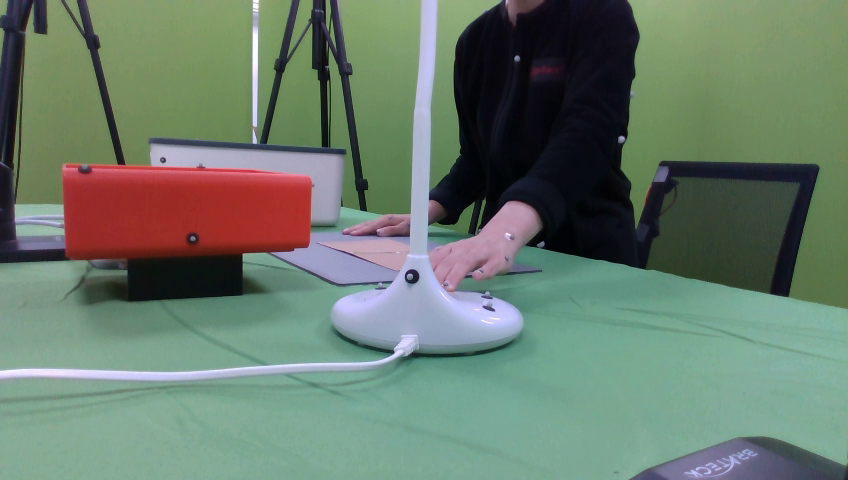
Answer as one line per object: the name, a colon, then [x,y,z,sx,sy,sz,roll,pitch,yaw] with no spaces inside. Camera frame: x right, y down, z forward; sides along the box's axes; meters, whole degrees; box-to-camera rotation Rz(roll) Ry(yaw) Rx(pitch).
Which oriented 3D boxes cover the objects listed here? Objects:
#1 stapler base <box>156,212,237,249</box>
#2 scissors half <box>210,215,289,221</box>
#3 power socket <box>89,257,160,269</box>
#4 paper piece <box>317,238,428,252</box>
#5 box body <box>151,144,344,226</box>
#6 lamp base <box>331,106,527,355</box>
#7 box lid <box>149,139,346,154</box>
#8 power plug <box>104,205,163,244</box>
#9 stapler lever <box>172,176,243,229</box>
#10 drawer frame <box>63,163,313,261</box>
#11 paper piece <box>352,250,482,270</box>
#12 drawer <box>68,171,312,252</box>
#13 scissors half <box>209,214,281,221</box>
stapler base: [-0.227,-0.017,0.624,0.041,0.024,0.130,19,10,-2]
scissors half: [-0.357,-0.044,1.235,0.175,0.013,0.040,1,-4,9]
power socket: [-0.409,0.004,0.793,0.072,0.032,0.225,-2,8,-38]
paper piece: [-0.083,0.008,0.950,0.136,0.004,0.134,-1,8,-30]
box body: [-0.370,-0.119,1.264,0.366,0.160,0.253,-1,8,-24]
lamp base: [0.006,-0.012,0.478,0.161,0.180,0.179,2,10,2]
box lid: [-0.365,-0.191,1.255,0.373,0.015,0.262,-1,8,-24]
power plug: [-0.390,-0.021,0.815,0.073,0.052,0.035,-1,7,-27]
stapler lever: [-0.217,-0.041,0.618,0.027,0.040,0.118,19,11,-2]
drawer frame: [-0.248,-0.036,0.626,0.215,0.082,0.200,-3,9,-31]
paper piece: [-0.013,0.026,0.841,0.139,0.008,0.135,-1,11,-32]
drawer: [-0.247,-0.036,0.629,0.213,0.073,0.193,-3,10,-30]
scissors half: [-0.364,-0.044,1.216,0.174,0.013,0.040,0,1,26]
